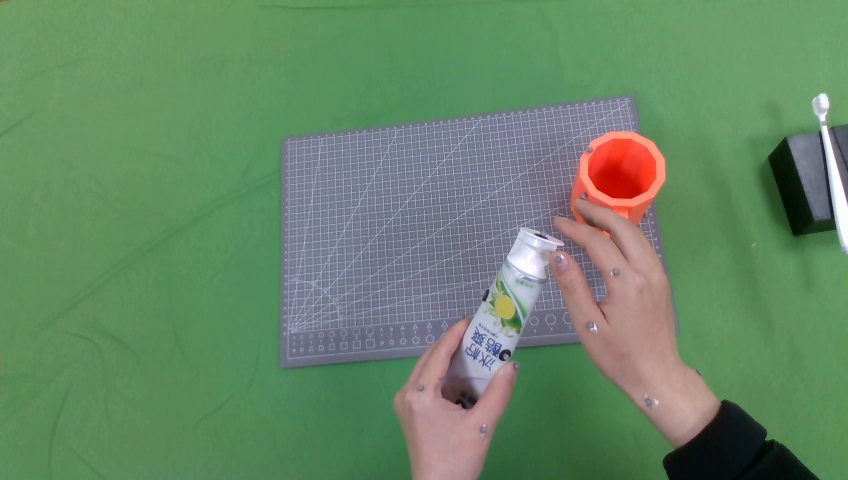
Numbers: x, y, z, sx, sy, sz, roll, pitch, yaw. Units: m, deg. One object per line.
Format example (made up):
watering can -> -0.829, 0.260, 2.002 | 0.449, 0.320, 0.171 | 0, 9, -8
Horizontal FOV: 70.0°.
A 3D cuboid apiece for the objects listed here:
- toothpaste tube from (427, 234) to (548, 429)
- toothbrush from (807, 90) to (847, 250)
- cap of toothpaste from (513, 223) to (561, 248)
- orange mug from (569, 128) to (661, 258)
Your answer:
toothpaste tube -> 0.052, 0.068, 0.474 | 0.054, 0.035, 0.165 | 33, 111, 31
toothbrush -> 0.429, -0.078, 0.639 | 0.014, 0.017, 0.181 | -1, 73, 4
cap of toothpaste -> 0.083, -0.003, 0.448 | 0.037, 0.037, 0.011 | 19, 99, 13
orange mug -> 0.205, -0.047, 0.663 | 0.083, 0.101, 0.125 | 2, 69, 8
